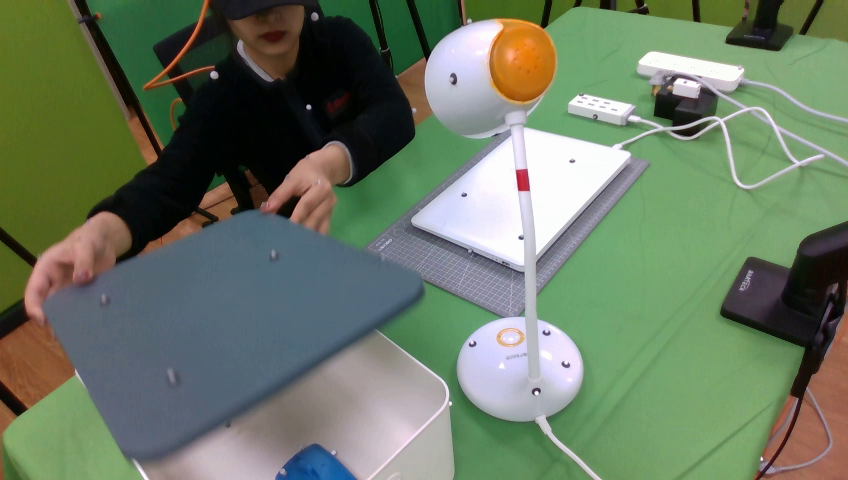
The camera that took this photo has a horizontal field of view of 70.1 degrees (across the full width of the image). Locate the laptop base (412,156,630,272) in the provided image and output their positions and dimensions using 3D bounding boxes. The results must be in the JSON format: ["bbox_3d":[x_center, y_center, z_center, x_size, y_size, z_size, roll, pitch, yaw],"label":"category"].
[{"bbox_3d":[0.176,-0.084,1.055,0.233,0.023,0.355,21,48,36],"label":"laptop base"}]

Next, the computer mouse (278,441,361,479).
[{"bbox_3d":[-0.112,0.269,0.666,0.063,0.041,0.116,-39,42,-27],"label":"computer mouse"}]

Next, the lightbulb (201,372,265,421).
[{"bbox_3d":[-0.249,0.198,0.773,0.107,0.060,0.059,-6,35,37],"label":"lightbulb"}]

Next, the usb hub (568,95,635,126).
[{"bbox_3d":[0.360,-0.264,1.228,0.124,0.025,0.049,24,49,34],"label":"usb hub"}]

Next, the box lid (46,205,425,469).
[{"bbox_3d":[-0.198,0.056,0.585,0.264,0.015,0.368,-31,32,-30],"label":"box lid"}]

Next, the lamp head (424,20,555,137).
[{"bbox_3d":[0.069,-0.153,0.572,0.113,0.112,0.122,-22,16,-14],"label":"lamp head"}]

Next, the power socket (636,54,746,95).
[{"bbox_3d":[0.564,-0.357,1.293,0.225,0.033,0.072,24,51,33],"label":"power socket"}]

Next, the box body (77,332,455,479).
[{"bbox_3d":[-0.168,0.198,0.675,0.255,0.161,0.361,-36,47,-28],"label":"box body"}]

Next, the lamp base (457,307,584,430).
[{"bbox_3d":[0.116,0.108,0.713,0.161,0.181,0.178,-16,43,-8],"label":"lamp base"}]

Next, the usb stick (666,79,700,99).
[{"bbox_3d":[0.492,-0.288,1.152,0.058,0.027,0.021,20,50,34],"label":"usb stick"}]

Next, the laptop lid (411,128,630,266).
[{"bbox_3d":[0.172,-0.093,1.049,0.239,0.013,0.358,23,49,36],"label":"laptop lid"}]

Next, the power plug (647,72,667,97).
[{"bbox_3d":[0.494,-0.320,1.260,0.073,0.052,0.035,1,19,-41],"label":"power plug"}]
